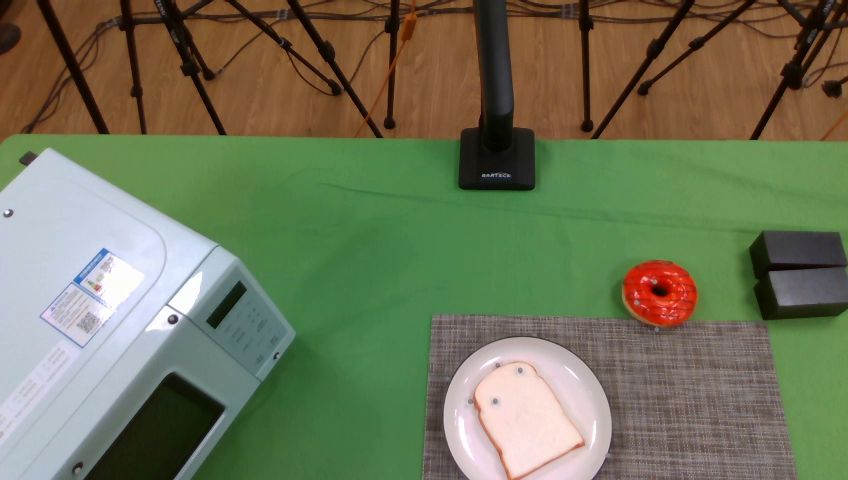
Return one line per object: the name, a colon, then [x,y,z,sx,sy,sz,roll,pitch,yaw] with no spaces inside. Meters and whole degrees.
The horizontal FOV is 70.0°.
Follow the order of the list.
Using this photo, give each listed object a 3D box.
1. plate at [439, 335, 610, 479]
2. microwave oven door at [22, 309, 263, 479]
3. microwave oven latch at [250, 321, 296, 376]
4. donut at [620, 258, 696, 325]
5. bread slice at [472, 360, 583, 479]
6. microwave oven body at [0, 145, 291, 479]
plate: [0.123,0.223,0.758,0.207,0.039,0.206,-2,62,3]
microwave oven door: [-0.330,0.260,0.643,0.039,0.246,0.354,27,67,18]
microwave oven latch: [-0.205,0.141,0.813,0.030,0.030,0.079,29,69,18]
donut: [0.317,0.070,0.823,0.099,0.049,0.098,-4,58,7]
bread slice: [0.121,0.218,0.762,0.105,0.019,0.130,-26,63,-10]
microwave oven body: [-0.431,0.168,0.707,0.324,0.262,0.440,27,68,17]
